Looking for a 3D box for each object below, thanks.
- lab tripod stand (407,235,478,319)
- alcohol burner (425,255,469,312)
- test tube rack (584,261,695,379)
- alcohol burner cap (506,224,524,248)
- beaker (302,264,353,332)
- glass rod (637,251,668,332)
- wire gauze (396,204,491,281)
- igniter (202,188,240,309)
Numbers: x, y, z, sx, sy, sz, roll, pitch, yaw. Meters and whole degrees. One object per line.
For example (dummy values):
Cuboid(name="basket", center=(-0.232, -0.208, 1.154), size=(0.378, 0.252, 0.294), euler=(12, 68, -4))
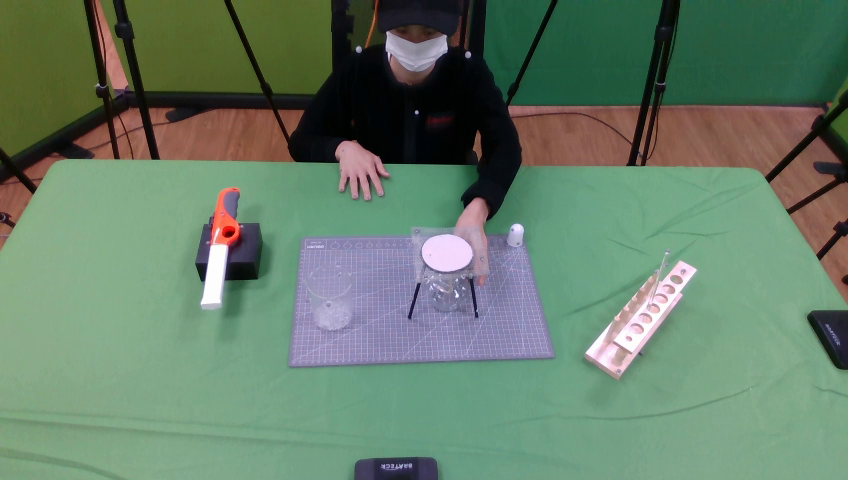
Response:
Cuboid(name="lab tripod stand", center=(0.032, 0.065, 1.057), size=(0.148, 0.132, 0.147), euler=(1, 45, -1))
Cuboid(name="alcohol burner", center=(0.041, 0.072, 1.065), size=(0.078, 0.120, 0.077), euler=(1, 46, -1))
Cuboid(name="test tube rack", center=(0.380, 0.127, 1.062), size=(0.066, 0.085, 0.242), euler=(34, 53, 26))
Cuboid(name="alcohol burner cap", center=(0.183, -0.010, 1.206), size=(0.034, 0.048, 0.033), euler=(1, 45, -1))
Cuboid(name="beaker", center=(-0.162, 0.101, 1.030), size=(0.084, 0.101, 0.073), euler=(4, 46, 0))
Cuboid(name="glass rod", center=(0.378, 0.090, 1.005), size=(0.008, 0.201, 0.008), euler=(-1, 44, 1))
Cuboid(name="wire gauze", center=(0.032, 0.004, 0.999), size=(0.125, 0.011, 0.120), euler=(-22, 54, -14))
Cuboid(name="igniter", center=(-0.366, 0.006, 1.095), size=(0.057, 0.025, 0.274), euler=(-2, 49, -7))
